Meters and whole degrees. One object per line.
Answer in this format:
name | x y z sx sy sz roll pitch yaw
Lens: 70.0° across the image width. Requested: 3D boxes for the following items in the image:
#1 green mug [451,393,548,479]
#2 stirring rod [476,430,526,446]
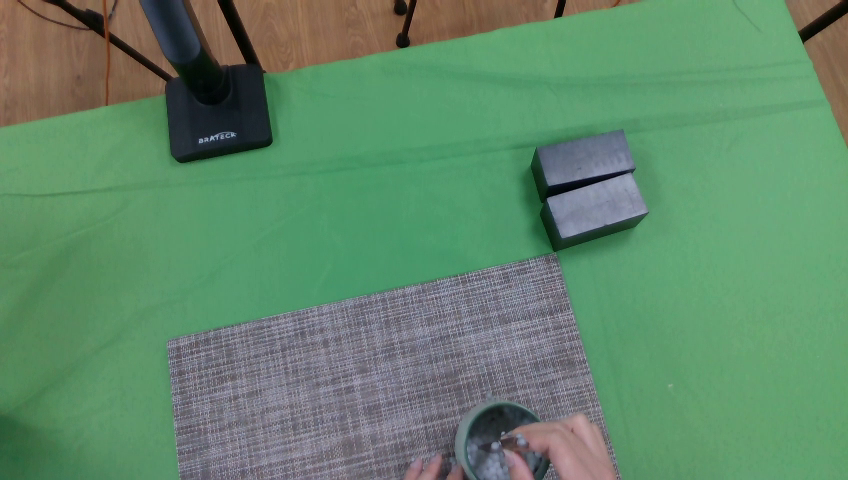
green mug | 0.081 0.208 0.585 0.092 0.105 0.124 -29 75 -7
stirring rod | 0.062 0.170 0.516 0.014 0.177 0.006 18 70 3
